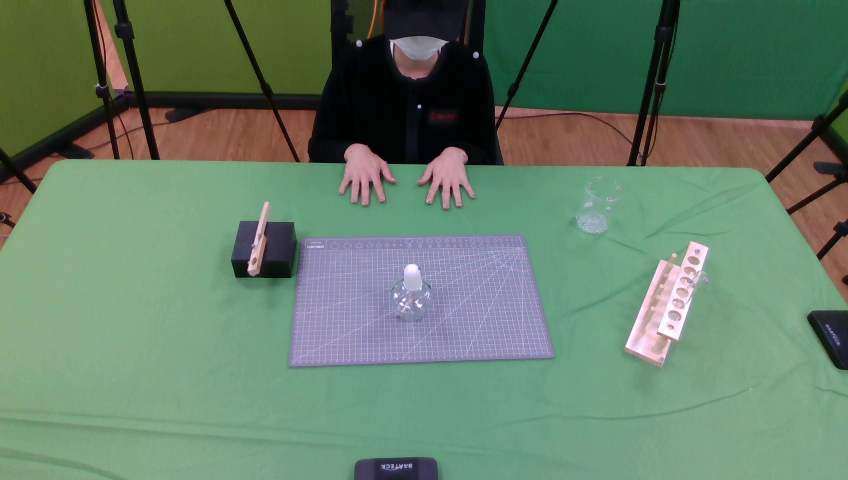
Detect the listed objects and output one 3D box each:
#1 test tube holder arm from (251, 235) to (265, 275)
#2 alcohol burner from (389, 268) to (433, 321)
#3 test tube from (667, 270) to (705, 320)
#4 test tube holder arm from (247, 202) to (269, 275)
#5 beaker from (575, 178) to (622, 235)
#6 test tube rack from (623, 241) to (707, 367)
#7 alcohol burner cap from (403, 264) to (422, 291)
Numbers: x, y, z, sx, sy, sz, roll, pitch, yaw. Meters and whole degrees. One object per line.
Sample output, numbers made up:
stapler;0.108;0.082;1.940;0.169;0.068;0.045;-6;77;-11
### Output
test tube holder arm;-0.297;0.025;1.085;0.010;0.015;0.087;-5;46;2
alcohol burner;-0.022;0.085;1.046;0.078;0.119;0.077;2;48;-2
test tube;0.434;0.103;1.020;0.017;0.151;0.017;4;48;-4
test tube holder arm;-0.304;-0.006;1.116;0.013;0.015;0.177;-6;46;2
beaker;0.356;-0.068;1.240;0.084;0.101;0.073;-18;50;-21
test tube rack;0.435;0.104;1.089;0.066;0.085;0.242;24;49;19
alcohol burner cap;-0.021;0.060;1.021;0.034;0.048;0.033;-2;46;2
